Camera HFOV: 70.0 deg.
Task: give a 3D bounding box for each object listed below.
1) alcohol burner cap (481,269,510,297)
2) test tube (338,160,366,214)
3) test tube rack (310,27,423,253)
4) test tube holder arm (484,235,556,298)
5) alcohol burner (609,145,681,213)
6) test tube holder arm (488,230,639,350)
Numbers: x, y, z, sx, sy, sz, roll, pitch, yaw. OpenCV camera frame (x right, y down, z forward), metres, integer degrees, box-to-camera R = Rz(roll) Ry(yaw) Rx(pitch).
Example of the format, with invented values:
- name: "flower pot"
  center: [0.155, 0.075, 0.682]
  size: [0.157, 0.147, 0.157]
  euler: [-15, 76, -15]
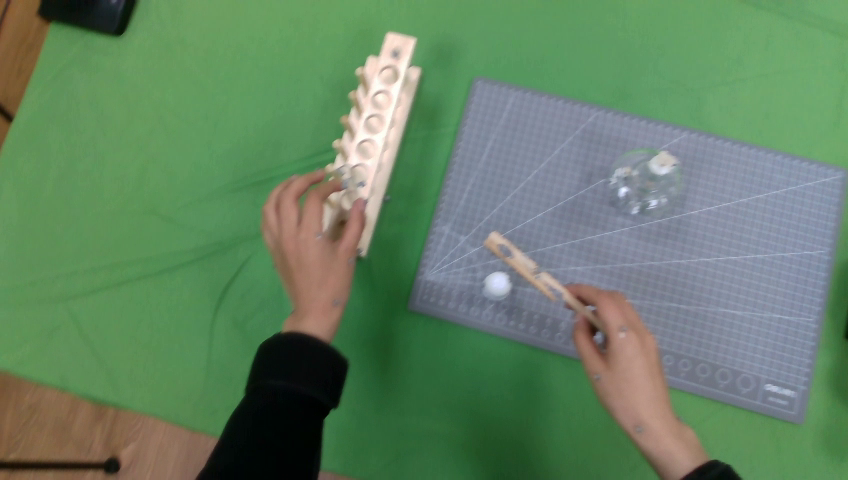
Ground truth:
- name: "alcohol burner cap"
  center: [0.081, 0.046, 0.677]
  size: [0.034, 0.048, 0.033]
  euler: [0, 82, 2]
- name: "test tube"
  center: [-0.073, -0.051, 0.630]
  size: [0.017, 0.151, 0.017]
  euler: [0, 77, -1]
- name: "test tube rack"
  center: [-0.068, -0.114, 0.690]
  size: [0.066, 0.085, 0.241]
  euler: [16, 82, 5]
- name: "test tube holder arm"
  center: [0.094, 0.025, 0.579]
  size: [0.088, 0.015, 0.010]
  euler: [38, 96, 0]
- name: "alcohol burner"
  center: [0.242, -0.070, 0.652]
  size: [0.078, 0.119, 0.077]
  euler: [-1, 80, 5]
- name: "test tube holder arm"
  center: [0.133, 0.048, 0.579]
  size: [0.178, 0.015, 0.013]
  euler: [37, 96, 0]
